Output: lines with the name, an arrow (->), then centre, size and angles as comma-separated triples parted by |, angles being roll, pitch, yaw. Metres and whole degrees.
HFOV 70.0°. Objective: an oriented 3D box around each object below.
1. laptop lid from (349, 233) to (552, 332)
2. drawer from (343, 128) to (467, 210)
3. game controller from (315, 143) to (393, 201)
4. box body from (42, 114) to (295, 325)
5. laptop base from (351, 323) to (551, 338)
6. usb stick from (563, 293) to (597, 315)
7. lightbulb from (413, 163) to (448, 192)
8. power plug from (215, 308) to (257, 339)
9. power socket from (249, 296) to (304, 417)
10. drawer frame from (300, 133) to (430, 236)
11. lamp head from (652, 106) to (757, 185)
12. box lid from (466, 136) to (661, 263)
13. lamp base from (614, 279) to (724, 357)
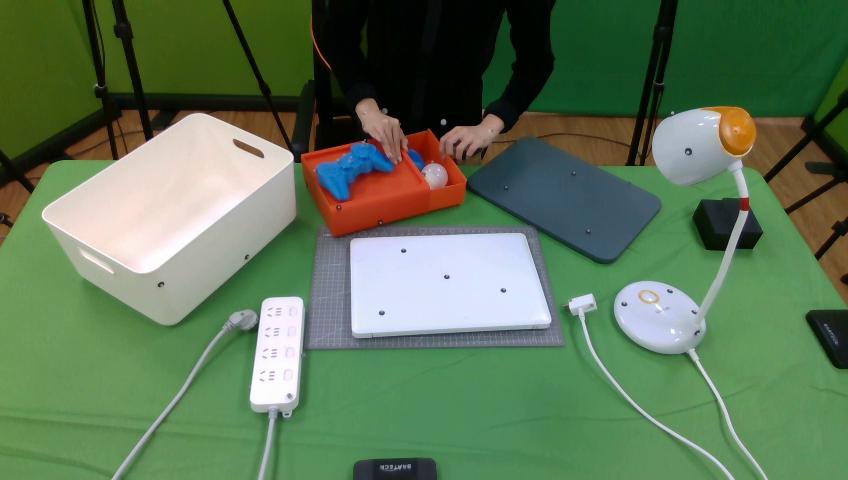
laptop lid -> 0.040, 0.070, 1.119 | 0.357, 0.013, 0.240 | -1, 44, -5
drawer -> -0.045, -0.142, 1.288 | 0.212, 0.073, 0.193 | -14, 50, -19
game controller -> -0.145, -0.146, 1.213 | 0.096, 0.052, 0.155 | 31, 50, 29
box body -> -0.437, -0.046, 1.110 | 0.253, 0.161, 0.363 | 24, 49, 19
laptop base -> 0.040, 0.080, 1.125 | 0.355, 0.023, 0.234 | -2, 43, -6
usb stick -> 0.280, 0.118, 1.093 | 0.059, 0.021, 0.027 | -18, 35, 25
lightbulb -> 0.007, -0.118, 1.284 | 0.059, 0.060, 0.107 | 29, 65, 22
power plug -> -0.317, 0.143, 1.024 | 0.072, 0.053, 0.035 | -32, 58, -8
power socket -> -0.239, 0.182, 0.996 | 0.072, 0.033, 0.225 | -2, 47, -5
drawer frame -> -0.123, -0.120, 1.260 | 0.214, 0.083, 0.200 | -17, 49, -20
lamp head -> 0.410, -0.139, 0.869 | 0.113, 0.122, 0.112 | 0, 89, -19
box lid -> 0.306, -0.102, 1.327 | 0.370, 0.015, 0.263 | 32, 52, 25
lamp base -> 0.436, 0.090, 1.035 | 0.161, 0.181, 0.178 | -23, 55, -23
